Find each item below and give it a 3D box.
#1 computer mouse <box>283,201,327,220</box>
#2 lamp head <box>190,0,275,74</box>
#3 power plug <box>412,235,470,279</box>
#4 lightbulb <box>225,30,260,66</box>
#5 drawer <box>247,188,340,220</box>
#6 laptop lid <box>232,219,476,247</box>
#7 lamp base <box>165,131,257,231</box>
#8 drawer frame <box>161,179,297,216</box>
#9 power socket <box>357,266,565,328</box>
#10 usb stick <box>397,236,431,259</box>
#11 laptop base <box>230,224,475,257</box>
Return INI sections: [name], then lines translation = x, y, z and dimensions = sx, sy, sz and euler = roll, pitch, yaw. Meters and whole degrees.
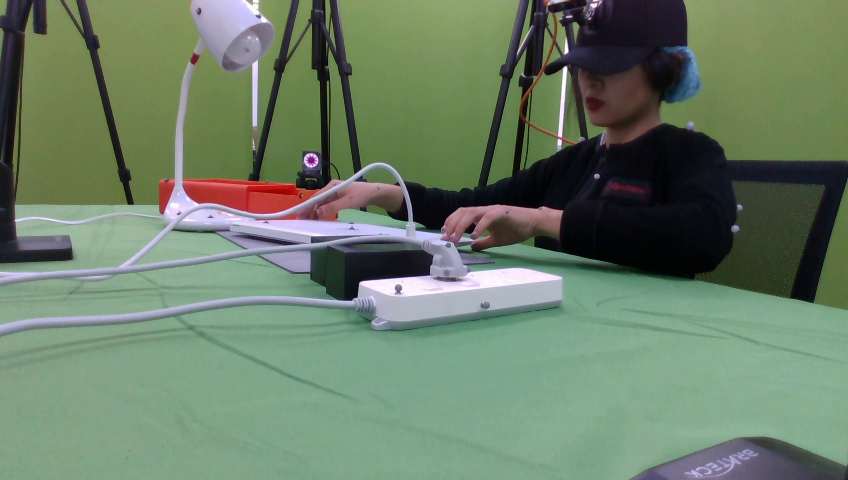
[computer mouse]
translation = -0.254, -0.062, 1.293
dimensions = 0.063, 0.041, 0.117
euler = 0, 2, 10
[lamp head]
translation = -0.331, -0.355, 1.008
dimensions = 0.123, 0.112, 0.112
euler = 43, 15, 6
[power plug]
translation = 0.017, 0.023, 0.588
dimensions = 0.035, 0.052, 0.072
euler = -1, 8, -24
[lightbulb]
translation = -0.319, -0.335, 1.000
dimensions = 0.107, 0.059, 0.059
euler = 46, 14, 4
[drawer]
translation = -0.314, -0.078, 1.301
dimensions = 0.211, 0.073, 0.195
euler = 4, 8, 15
[laptop lid]
translation = -0.119, -0.016, 1.000
dimensions = 0.355, 0.013, 0.243
euler = 8, 7, 40
[lamp base]
translation = -0.407, -0.112, 1.119
dimensions = 0.179, 0.180, 0.161
euler = -1, 7, 7
[drawer frame]
translation = -0.421, -0.089, 1.329
dimensions = 0.213, 0.082, 0.202
euler = 4, 8, 16
[power socket]
translation = 0.041, 0.049, 0.572
dimensions = 0.228, 0.032, 0.072
euler = -3, 8, -35
[usb stick]
translation = -0.019, 0.010, 0.821
dimensions = 0.059, 0.027, 0.021
euler = 3, 12, 41
[laptop base]
translation = -0.121, -0.003, 1.000
dimensions = 0.352, 0.023, 0.237
euler = 8, 6, 38
